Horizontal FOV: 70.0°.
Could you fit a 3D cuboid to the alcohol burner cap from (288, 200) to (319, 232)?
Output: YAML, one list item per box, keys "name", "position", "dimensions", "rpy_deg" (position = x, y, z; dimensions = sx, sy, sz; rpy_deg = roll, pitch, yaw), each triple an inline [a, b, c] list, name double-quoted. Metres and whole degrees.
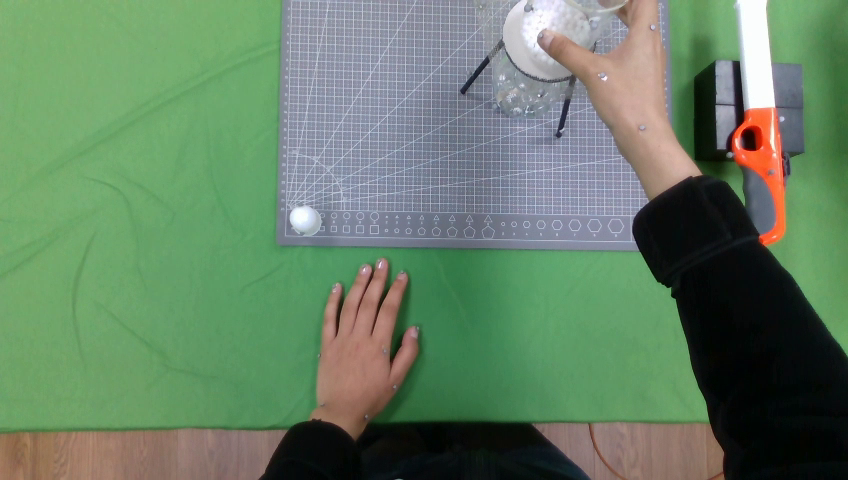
- name: "alcohol burner cap"
  position: [-0.132, -0.028, 0.651]
  dimensions: [0.034, 0.048, 0.034]
  rpy_deg: [0, 85, -3]

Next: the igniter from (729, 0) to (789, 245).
- name: "igniter"
  position: [0.357, -0.132, 0.651]
  dimensions: [0.057, 0.025, 0.276]
  rpy_deg: [-1, 85, 8]

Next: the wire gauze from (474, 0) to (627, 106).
- name: "wire gauze"
  position: [0.118, -0.192, 0.566]
  dimensions: [0.125, 0.011, 0.121]
  rpy_deg: [-12, 86, -4]

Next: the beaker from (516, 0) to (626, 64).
- name: "beaker"
  position: [0.121, -0.202, 0.514]
  dimensions: [0.084, 0.100, 0.073]
  rpy_deg: [2, 79, -7]

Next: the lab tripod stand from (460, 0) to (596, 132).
- name: "lab tripod stand"
  position: [0.115, -0.193, 0.633]
  dimensions: [0.148, 0.131, 0.148]
  rpy_deg: [0, 84, -2]

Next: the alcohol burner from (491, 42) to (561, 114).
- name: "alcohol burner"
  position: [0.111, -0.177, 0.641]
  dimensions: [0.078, 0.119, 0.078]
  rpy_deg: [0, 87, -2]
